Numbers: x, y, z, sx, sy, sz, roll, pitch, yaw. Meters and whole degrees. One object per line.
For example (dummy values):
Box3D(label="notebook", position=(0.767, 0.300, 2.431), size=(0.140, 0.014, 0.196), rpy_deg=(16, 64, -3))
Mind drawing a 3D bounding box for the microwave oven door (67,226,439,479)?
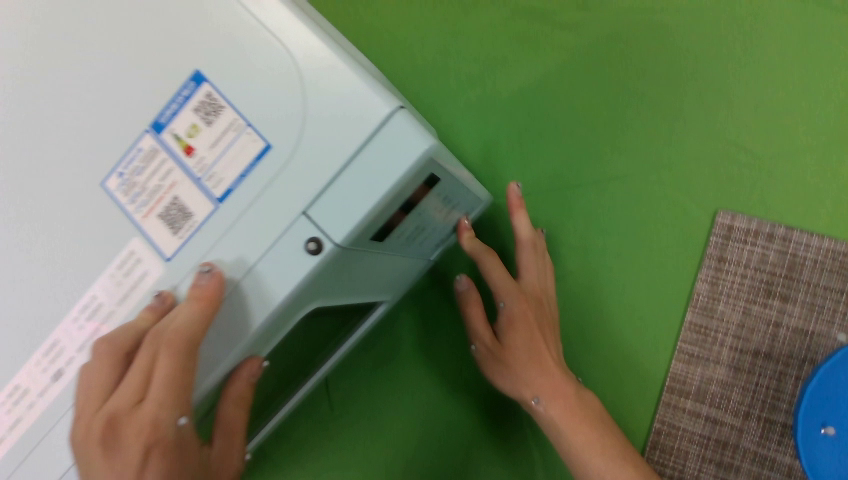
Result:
Box3D(label="microwave oven door", position=(-0.148, 0.127, 0.467), size=(0.356, 0.245, 0.039), rpy_deg=(-46, 76, 7))

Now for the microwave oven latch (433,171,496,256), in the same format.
Box3D(label="microwave oven latch", position=(0.029, -0.022, 0.536), size=(0.079, 0.029, 0.030), rpy_deg=(-45, 78, 8))

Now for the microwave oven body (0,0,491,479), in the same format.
Box3D(label="microwave oven body", position=(-0.218, -0.004, 0.497), size=(0.324, 0.261, 0.442), rpy_deg=(45, 98, 12))

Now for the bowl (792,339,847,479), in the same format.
Box3D(label="bowl", position=(0.344, 0.136, 0.444), size=(0.151, 0.077, 0.151), rpy_deg=(-1, 86, 14))
